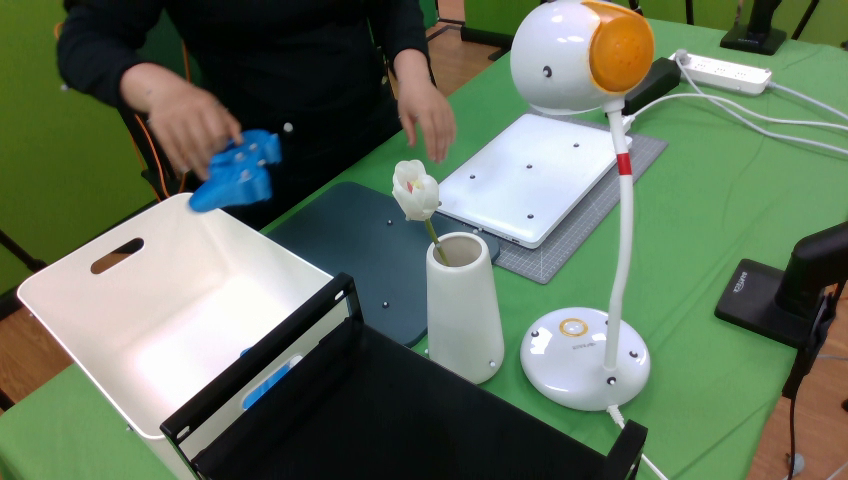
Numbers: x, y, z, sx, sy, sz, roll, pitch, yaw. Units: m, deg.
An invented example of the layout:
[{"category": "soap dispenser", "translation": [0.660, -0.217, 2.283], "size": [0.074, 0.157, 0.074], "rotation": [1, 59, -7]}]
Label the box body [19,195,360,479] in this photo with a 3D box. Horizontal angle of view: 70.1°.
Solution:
[{"category": "box body", "translation": [-0.288, 0.118, 0.772], "size": [0.361, 0.161, 0.255], "rotation": [26, 50, 33]}]

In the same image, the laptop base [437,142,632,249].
[{"category": "laptop base", "translation": [0.193, -0.117, 1.087], "size": [0.233, 0.023, 0.355], "rotation": [21, 48, 34]}]

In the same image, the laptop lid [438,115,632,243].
[{"category": "laptop lid", "translation": [0.189, -0.126, 1.081], "size": [0.239, 0.013, 0.358], "rotation": [23, 49, 35]}]

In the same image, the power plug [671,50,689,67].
[{"category": "power plug", "translation": [0.540, -0.379, 1.302], "size": [0.073, 0.053, 0.035], "rotation": [-31, 46, -23]}]

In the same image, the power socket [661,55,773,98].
[{"category": "power socket", "translation": [0.619, -0.353, 1.289], "size": [0.225, 0.033, 0.072], "rotation": [26, 51, 33]}]

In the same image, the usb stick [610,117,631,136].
[{"category": "usb stick", "translation": [0.369, -0.208, 1.147], "size": [0.021, 0.027, 0.059], "rotation": [25, 55, 33]}]

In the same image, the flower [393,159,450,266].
[{"category": "flower", "translation": [0.028, 0.035, 0.664], "size": [0.043, 0.364, 0.038], "rotation": [34, 73, 29]}]

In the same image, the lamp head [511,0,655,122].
[{"category": "lamp head", "translation": [0.155, -0.168, 0.563], "size": [0.113, 0.113, 0.122], "rotation": [-18, 23, -12]}]

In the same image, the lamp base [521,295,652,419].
[{"category": "lamp base", "translation": [0.201, 0.095, 0.710], "size": [0.161, 0.181, 0.178], "rotation": [-16, 43, -10]}]

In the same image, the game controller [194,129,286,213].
[{"category": "game controller", "translation": [-0.230, -0.097, 0.766], "size": [0.097, 0.052, 0.154], "rotation": [-4, 37, 0]}]

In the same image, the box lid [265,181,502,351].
[{"category": "box lid", "translation": [-0.087, 0.022, 0.971], "size": [0.368, 0.015, 0.264], "rotation": [23, 49, 31]}]

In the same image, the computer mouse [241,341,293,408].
[{"category": "computer mouse", "translation": [-0.200, 0.177, 0.776], "size": [0.063, 0.041, 0.116], "rotation": [-11, 44, -8]}]

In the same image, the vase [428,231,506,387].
[{"category": "vase", "translation": [0.050, 0.087, 0.728], "size": [0.098, 0.201, 0.097], "rotation": [-3, 40, 3]}]
